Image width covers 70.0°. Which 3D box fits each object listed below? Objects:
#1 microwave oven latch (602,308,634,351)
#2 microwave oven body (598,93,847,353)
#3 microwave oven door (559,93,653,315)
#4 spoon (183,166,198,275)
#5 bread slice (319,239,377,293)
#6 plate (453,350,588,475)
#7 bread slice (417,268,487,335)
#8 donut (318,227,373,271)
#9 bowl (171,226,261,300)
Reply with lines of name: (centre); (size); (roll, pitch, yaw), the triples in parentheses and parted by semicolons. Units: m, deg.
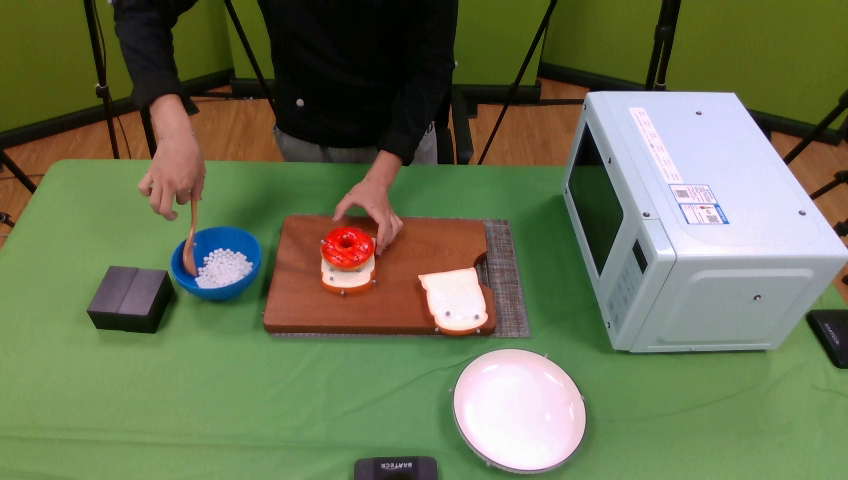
microwave oven latch: (0.332, 0.153, 1.044); (0.030, 0.029, 0.078); (-1, 45, -4)
microwave oven body: (0.475, -0.041, 1.109); (0.326, 0.261, 0.438); (-1, 45, -4)
microwave oven door: (0.327, -0.074, 1.123); (0.039, 0.245, 0.353); (-1, 46, -5)
spoon: (-0.409, -0.034, 1.070); (0.021, 0.041, 0.193); (3, 88, 0)
bread slice: (-0.140, 0.044, 1.111); (0.105, 0.019, 0.130); (0, 44, -3)
plate: (0.147, 0.267, 0.943); (0.208, 0.039, 0.206); (2, 45, -2)
bread slice: (0.055, 0.107, 1.063); (0.107, 0.018, 0.133); (-9, 48, -12)
donut: (-0.142, 0.017, 1.095); (0.099, 0.048, 0.098); (2, 44, -2)
bowl: (-0.363, 0.054, 1.080); (0.151, 0.077, 0.150); (2, 45, -2)
